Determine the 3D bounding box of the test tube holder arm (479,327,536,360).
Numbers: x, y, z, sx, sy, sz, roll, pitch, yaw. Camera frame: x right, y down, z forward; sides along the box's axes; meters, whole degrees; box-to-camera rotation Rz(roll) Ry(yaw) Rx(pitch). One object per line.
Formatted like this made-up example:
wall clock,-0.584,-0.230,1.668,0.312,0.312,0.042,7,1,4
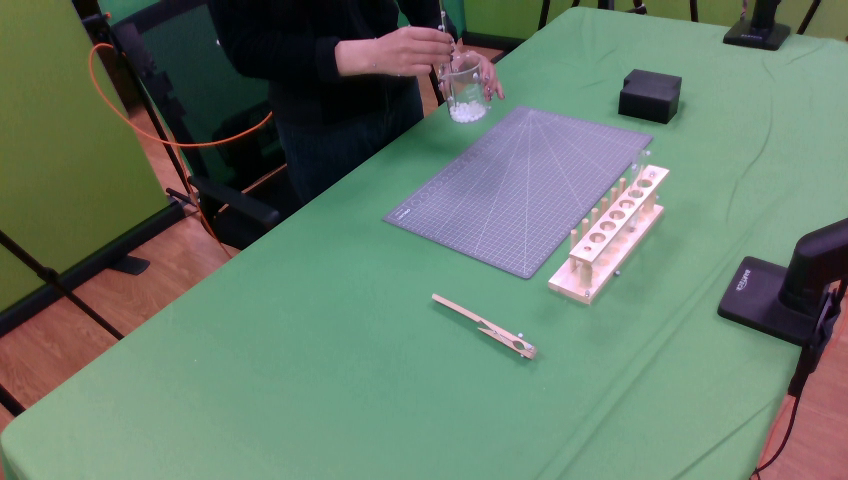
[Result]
test tube holder arm,0.110,0.134,0.805,0.087,0.015,0.010,29,83,36

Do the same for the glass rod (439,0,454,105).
glass rod,0.040,-0.316,1.029,0.008,0.200,0.008,-5,45,5

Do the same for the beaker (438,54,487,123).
beaker,0.069,-0.263,1.064,0.084,0.101,0.073,-30,40,-19

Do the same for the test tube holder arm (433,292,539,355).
test tube holder arm,0.081,0.113,0.832,0.177,0.015,0.013,28,82,36

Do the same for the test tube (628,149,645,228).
test tube,0.309,-0.071,0.882,0.017,0.151,0.017,-7,46,8

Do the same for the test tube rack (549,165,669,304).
test tube rack,0.279,-0.018,0.902,0.066,0.085,0.243,24,50,33
